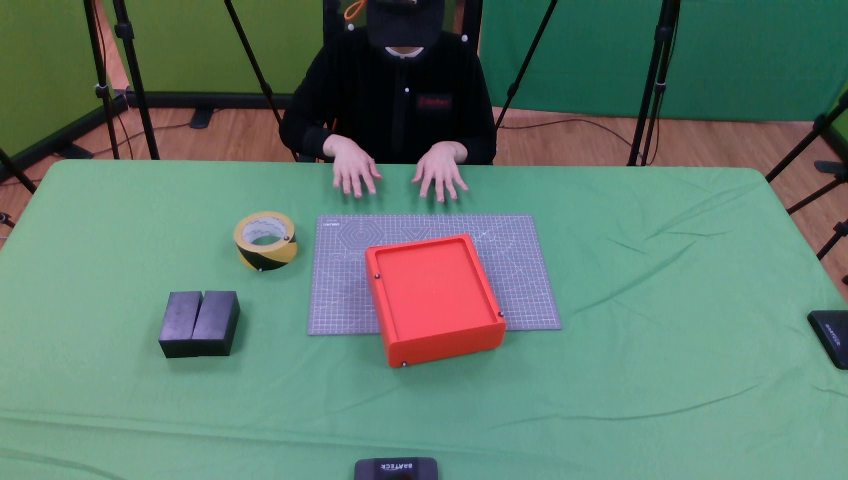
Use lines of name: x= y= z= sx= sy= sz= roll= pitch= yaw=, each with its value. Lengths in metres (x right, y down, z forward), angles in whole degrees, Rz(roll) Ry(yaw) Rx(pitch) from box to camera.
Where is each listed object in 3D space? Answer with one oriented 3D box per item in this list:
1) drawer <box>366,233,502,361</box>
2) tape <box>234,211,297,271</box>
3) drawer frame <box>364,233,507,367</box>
drawer: x=0.012 y=0.095 z=1.063 sx=0.195 sy=0.073 sz=0.210 roll=-7 pitch=48 yaw=-12
tape: x=-0.301 y=0.002 z=1.154 sx=0.117 sy=0.053 sz=0.116 roll=2 pitch=46 yaw=-1
drawer frame: x=0.013 y=0.098 z=1.058 sx=0.202 sy=0.083 sz=0.212 roll=-9 pitch=48 yaw=-12
